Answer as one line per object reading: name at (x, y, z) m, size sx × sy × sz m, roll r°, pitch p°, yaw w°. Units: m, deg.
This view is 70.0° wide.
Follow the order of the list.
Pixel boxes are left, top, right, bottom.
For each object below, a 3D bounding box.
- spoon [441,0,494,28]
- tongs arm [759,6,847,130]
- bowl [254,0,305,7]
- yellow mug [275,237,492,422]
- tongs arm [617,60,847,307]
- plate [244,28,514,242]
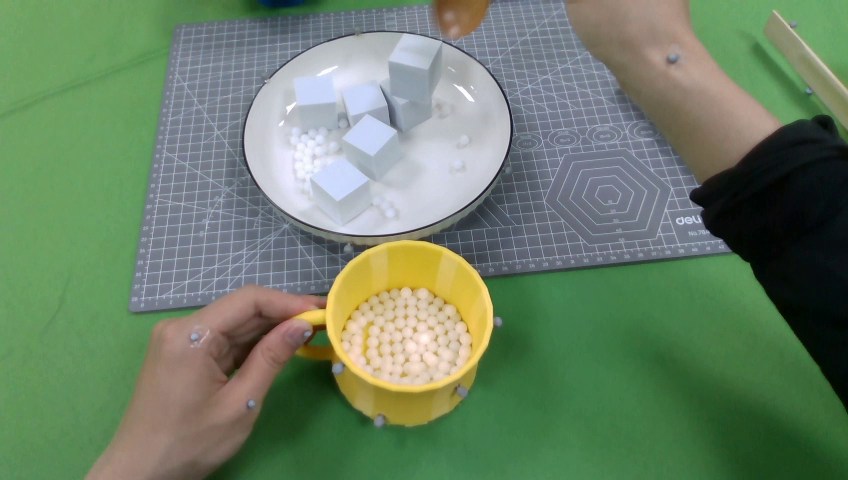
spoon at (0.055, -0.187, 0.362) m, size 0.021 × 0.193 × 0.041 m, roll -30°, pitch 90°, yaw -22°
tongs arm at (0.347, -0.036, 0.449) m, size 0.051 × 0.027 × 0.381 m, roll -18°, pitch 63°, yaw -10°
bowl at (-0.143, -0.278, 0.576) m, size 0.151 × 0.077 × 0.150 m, roll -1°, pitch 60°, yaw 2°
yellow mug at (-0.027, 0.057, 0.379) m, size 0.131 × 0.064 × 0.099 m, roll -3°, pitch 58°, yaw -7°
tongs arm at (0.274, -0.005, 0.434) m, size 0.028 × 0.028 × 0.384 m, roll -28°, pitch 64°, yaw -19°
plate at (-0.034, -0.084, 0.482) m, size 0.208 × 0.039 × 0.206 m, roll -1°, pitch 60°, yaw 1°
